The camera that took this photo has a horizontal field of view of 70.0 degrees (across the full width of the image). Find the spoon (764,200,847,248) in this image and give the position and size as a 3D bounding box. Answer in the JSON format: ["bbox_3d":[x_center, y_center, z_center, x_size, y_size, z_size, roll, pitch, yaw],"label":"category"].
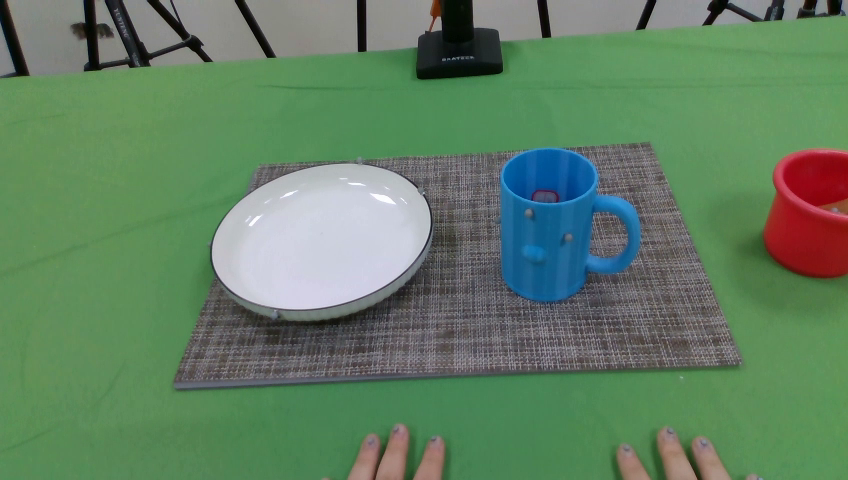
[{"bbox_3d":[0.376,-0.040,0.488,0.022,0.194,0.041,37,44,-20],"label":"spoon"}]

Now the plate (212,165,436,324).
[{"bbox_3d":[-0.091,0.003,0.576,0.207,0.039,0.205,-4,42,4],"label":"plate"}]

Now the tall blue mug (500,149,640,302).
[{"bbox_3d":[0.119,-0.012,0.512,0.107,0.109,0.077,-7,42,0],"label":"tall blue mug"}]
